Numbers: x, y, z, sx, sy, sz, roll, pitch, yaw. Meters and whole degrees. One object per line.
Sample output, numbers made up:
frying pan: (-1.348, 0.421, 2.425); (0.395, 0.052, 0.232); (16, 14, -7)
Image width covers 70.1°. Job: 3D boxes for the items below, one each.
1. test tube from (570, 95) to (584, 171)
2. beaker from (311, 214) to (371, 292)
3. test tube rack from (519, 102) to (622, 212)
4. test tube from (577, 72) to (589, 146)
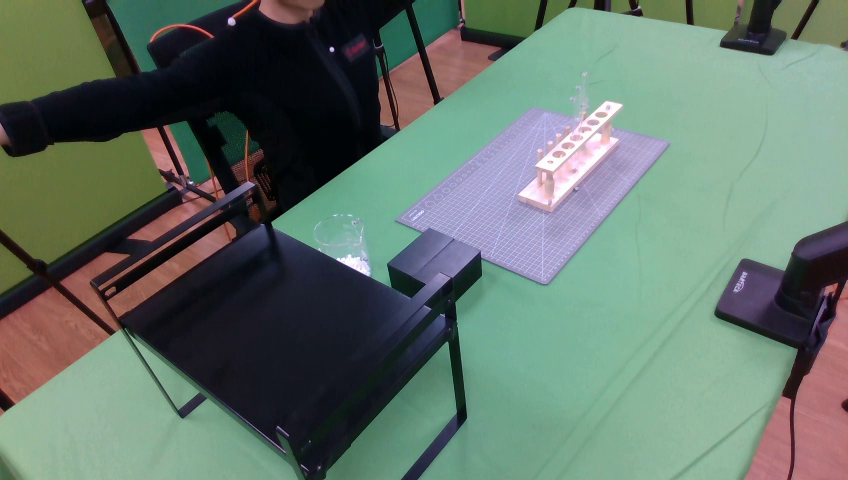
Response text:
test tube: (0.256, -0.175, 1.013); (0.017, 0.151, 0.017); (-5, 47, 6)
beaker: (-0.118, 0.022, 0.908); (0.083, 0.101, 0.074); (26, 51, 32)
test tube rack: (0.260, -0.155, 1.065); (0.066, 0.085, 0.243); (25, 50, 32)
test tube: (0.284, -0.233, 1.084); (0.017, 0.151, 0.017); (-5, 44, 6)
